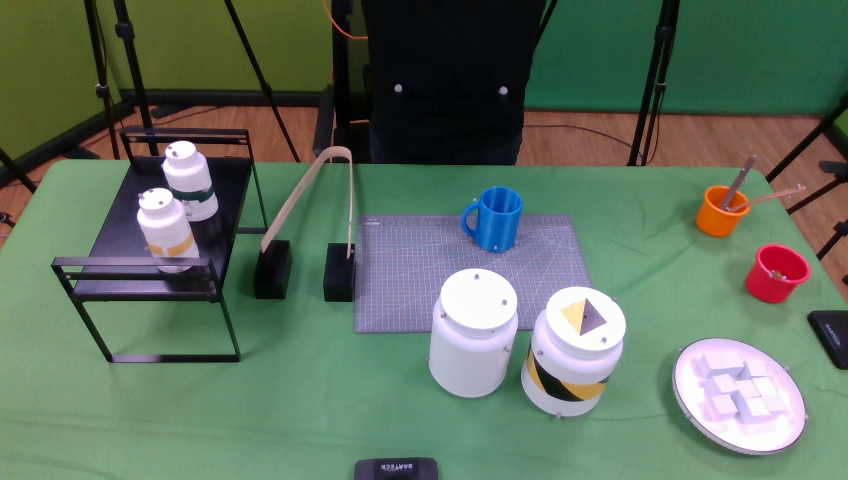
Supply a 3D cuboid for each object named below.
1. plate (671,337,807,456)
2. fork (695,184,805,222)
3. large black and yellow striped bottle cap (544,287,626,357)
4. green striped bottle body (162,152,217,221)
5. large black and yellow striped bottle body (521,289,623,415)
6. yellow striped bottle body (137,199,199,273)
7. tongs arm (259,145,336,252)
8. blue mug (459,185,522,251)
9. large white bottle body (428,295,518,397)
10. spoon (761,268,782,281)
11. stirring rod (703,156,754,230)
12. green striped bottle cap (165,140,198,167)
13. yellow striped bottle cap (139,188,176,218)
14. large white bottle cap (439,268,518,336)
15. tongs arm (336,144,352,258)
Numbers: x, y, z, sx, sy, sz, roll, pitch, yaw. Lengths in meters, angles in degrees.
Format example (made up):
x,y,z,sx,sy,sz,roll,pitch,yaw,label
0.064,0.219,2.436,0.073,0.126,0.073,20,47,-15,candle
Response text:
x,y,z,sx,sy,sz,roll,pitch,yaw,label
0.503,0.254,0.984,0.208,0.039,0.206,2,46,-2,plate
0.657,-0.075,1.230,0.207,0.019,0.028,-23,34,37,fork
0.232,0.116,0.876,0.115,0.019,0.114,1,45,-1,large black and yellow striped bottle cap
-0.363,-0.092,0.939,0.063,0.120,0.063,2,46,-2,green striped bottle body
0.228,0.173,0.938,0.131,0.185,0.130,2,47,-2,large black and yellow striped bottle body
-0.366,-0.014,0.864,0.063,0.121,0.062,2,46,-2,yellow striped bottle body
-0.252,-0.098,1.233,0.028,0.028,0.385,5,36,10,tongs arm
0.126,-0.042,1.185,0.116,0.106,0.082,0,47,-4,blue mug
0.075,0.147,0.950,0.131,0.185,0.130,2,46,-2,large white bottle body
0.638,0.060,1.105,0.041,0.021,0.194,38,11,24,spoon
0.631,-0.098,1.258,0.014,0.006,0.176,33,95,29,stirring rod
-0.361,-0.129,0.902,0.044,0.020,0.044,3,48,-3,green striped bottle cap
-0.363,-0.051,0.826,0.044,0.019,0.044,1,46,-1,yellow striped bottle cap
0.080,0.089,0.888,0.115,0.018,0.114,2,47,-2,large white bottle cap
-0.169,-0.092,1.234,0.051,0.026,0.382,0,37,-3,tongs arm
